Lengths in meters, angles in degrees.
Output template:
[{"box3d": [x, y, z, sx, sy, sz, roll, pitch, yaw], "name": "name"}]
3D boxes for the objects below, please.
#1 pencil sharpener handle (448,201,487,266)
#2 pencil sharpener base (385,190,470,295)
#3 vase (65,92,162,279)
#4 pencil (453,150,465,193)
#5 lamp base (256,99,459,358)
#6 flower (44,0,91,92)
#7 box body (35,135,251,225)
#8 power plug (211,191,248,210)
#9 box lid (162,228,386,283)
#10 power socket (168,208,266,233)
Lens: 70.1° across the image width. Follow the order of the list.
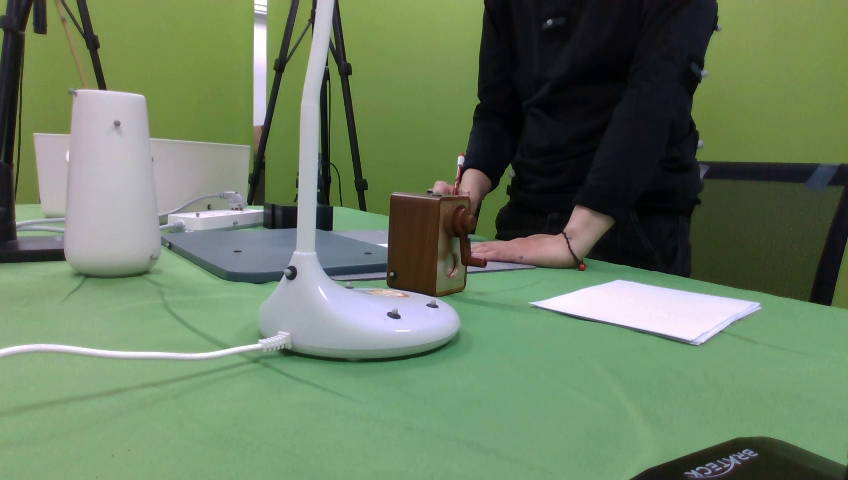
[{"box3d": [0.049, -0.006, 0.623, 0.030, 0.068, 0.036, 8, 22, 37], "name": "pencil sharpener handle"}, {"box3d": [0.006, 0.001, 0.653, 0.076, 0.107, 0.061, 8, 9, 37], "name": "pencil sharpener base"}, {"box3d": [-0.347, -0.060, 0.673, 0.098, 0.200, 0.098, 1, 7, 0], "name": "vase"}, {"box3d": [0.054, -0.080, 1.035, 0.012, 0.194, 0.012, 7, -34, 5], "name": "pencil"}, {"box3d": [-0.055, -0.013, 0.463, 0.160, 0.180, 0.180, 6, 11, 27], "name": "lamp base"}, {"box3d": [-0.361, -0.142, 0.663, 0.044, 0.361, 0.038, -12, 11, 30], "name": "flower"}, {"box3d": [-0.559, -0.127, 1.257, 0.253, 0.160, 0.365, 4, 8, 15], "name": "box body"}, {"box3d": [-0.384, -0.071, 1.205, 0.072, 0.052, 0.035, 1, 8, 28], "name": "power plug"}, {"box3d": [-0.200, 0.014, 0.861, 0.265, 0.015, 0.369, -4, 9, -35], "name": "box lid"}, {"box3d": [-0.379, -0.038, 1.129, 0.072, 0.032, 0.227, 4, 8, 18], "name": "power socket"}]
